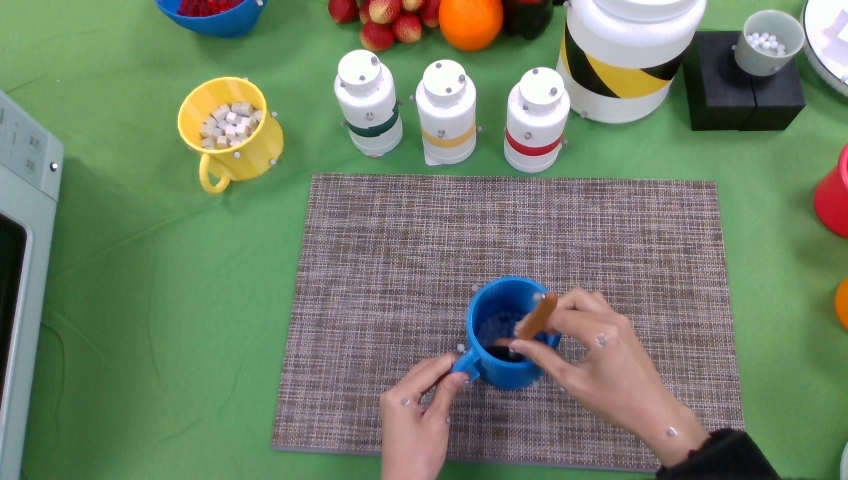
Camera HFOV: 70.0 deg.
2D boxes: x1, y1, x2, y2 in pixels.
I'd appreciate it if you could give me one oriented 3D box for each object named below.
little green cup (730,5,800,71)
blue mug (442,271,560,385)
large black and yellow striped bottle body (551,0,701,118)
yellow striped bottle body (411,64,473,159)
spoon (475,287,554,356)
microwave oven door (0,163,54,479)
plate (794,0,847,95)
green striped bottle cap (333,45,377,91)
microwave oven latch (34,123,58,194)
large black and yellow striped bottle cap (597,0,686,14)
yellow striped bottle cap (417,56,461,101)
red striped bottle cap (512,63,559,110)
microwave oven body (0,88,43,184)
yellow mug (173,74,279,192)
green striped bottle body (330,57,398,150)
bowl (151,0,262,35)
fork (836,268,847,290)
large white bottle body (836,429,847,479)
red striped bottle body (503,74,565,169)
[{"bbox_3d":[0.359,-0.212,0.643,0.061,0.039,0.061,-1,67,2],"label":"little green cup"},{"bbox_3d":[0.065,0.094,0.560,0.116,0.106,0.081,-35,69,-9],"label":"blue mug"},{"bbox_3d":[0.208,-0.229,0.637,0.131,0.185,0.130,-1,68,4],"label":"large black and yellow striped bottle body"},{"bbox_3d":[0.021,-0.143,0.652,0.063,0.121,0.062,-2,68,5],"label":"yellow striped bottle body"},{"bbox_3d":[0.076,0.072,0.501,0.041,0.194,0.021,14,70,-2],"label":"spoon"},{"bbox_3d":[-0.427,0.073,0.516,0.039,0.245,0.353,-7,68,2],"label":"microwave oven door"},{"bbox_3d":[0.530,-0.237,0.695,0.209,0.038,0.207,-1,69,4],"label":"plate"},{"bbox_3d":[-0.070,-0.175,0.615,0.044,0.020,0.044,0,70,1],"label":"green striped bottle cap"},{"bbox_3d":[-0.440,-0.092,0.690,0.030,0.030,0.078,-5,69,2],"label":"microwave oven latch"},{"bbox_3d":[0.201,-0.259,0.559,0.115,0.019,0.114,-2,67,4],"label":"large black and yellow striped bottle cap"},{"bbox_3d":[0.015,-0.161,0.603,0.044,0.019,0.044,0,65,-1],"label":"yellow striped bottle cap"},{"bbox_3d":[0.109,-0.150,0.592,0.044,0.018,0.044,0,67,0],"label":"red striped bottle cap"},{"bbox_3d":[-0.576,0.054,0.540,0.326,0.262,0.438,-7,69,1],"label":"microwave oven body"},{"bbox_3d":[-0.228,-0.116,0.689,0.100,0.064,0.130,11,71,8],"label":"yellow mug"},{"bbox_3d":[-0.065,-0.155,0.663,0.063,0.120,0.062,-1,68,4],"label":"green striped bottle body"},{"bbox_3d":[-0.262,-0.314,0.762,0.151,0.077,0.150,-1,69,3],"label":"bowl"},{"bbox_3d":[0.460,0.068,0.522,0.028,0.019,0.205,-35,26,-9],"label":"fork"},{"bbox_3d":[0.428,0.183,0.460,0.130,0.186,0.129,-2,68,4],"label":"large white bottle body"},{"bbox_3d":[0.115,-0.130,0.640,0.063,0.120,0.062,-3,67,7],"label":"red striped bottle body"}]
